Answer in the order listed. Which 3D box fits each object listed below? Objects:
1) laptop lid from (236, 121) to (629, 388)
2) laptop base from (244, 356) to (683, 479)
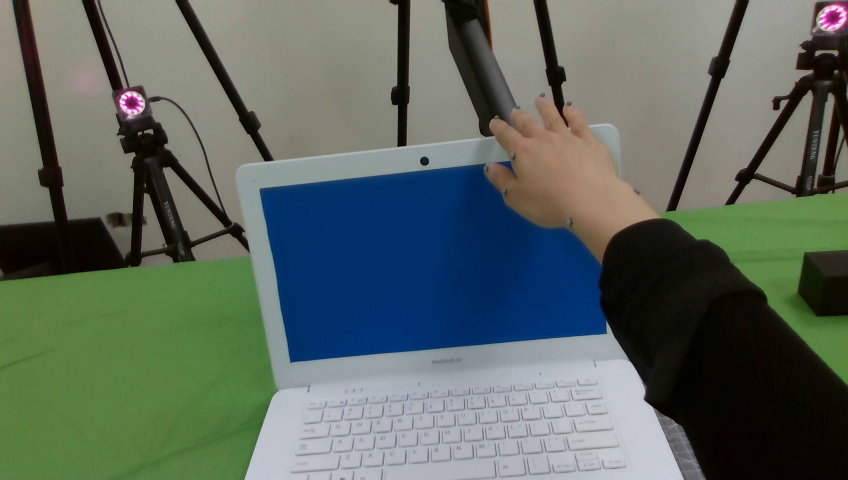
[{"bbox_3d":[0.012,0.024,0.576,0.356,0.242,0.013,-7,13,4],"label":"laptop lid"},{"bbox_3d":[0.023,0.192,0.499,0.354,0.023,0.233,-6,31,3],"label":"laptop base"}]
